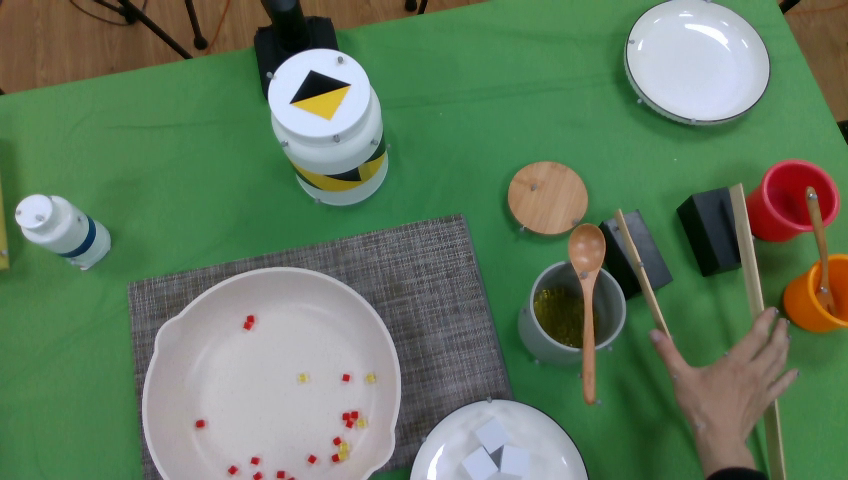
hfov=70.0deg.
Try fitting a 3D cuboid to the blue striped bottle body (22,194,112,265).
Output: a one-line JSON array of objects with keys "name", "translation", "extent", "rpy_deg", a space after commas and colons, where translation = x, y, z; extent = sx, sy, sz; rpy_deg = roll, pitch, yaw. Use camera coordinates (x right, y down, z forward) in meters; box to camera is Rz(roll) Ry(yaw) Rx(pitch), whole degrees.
[{"name": "blue striped bottle body", "translation": [-0.450, -0.015, 0.758], "extent": [0.063, 0.121, 0.062], "rpy_deg": [0, 71, 1]}]

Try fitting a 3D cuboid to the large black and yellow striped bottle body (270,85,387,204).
[{"name": "large black and yellow striped bottle body", "translation": [-0.117, -0.137, 0.765], "extent": [0.131, 0.185, 0.130], "rpy_deg": [0, 71, 0]}]

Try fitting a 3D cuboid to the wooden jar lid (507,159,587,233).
[{"name": "wooden jar lid", "translation": [0.166, -0.058, 0.825], "extent": [0.108, 0.021, 0.108], "rpy_deg": [0, 73, 0]}]

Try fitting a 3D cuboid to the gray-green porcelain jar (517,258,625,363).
[{"name": "gray-green porcelain jar", "translation": [0.168, 0.089, 0.721], "extent": [0.106, 0.127, 0.105], "rpy_deg": [0, 71, 0]}]

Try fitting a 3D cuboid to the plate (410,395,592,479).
[{"name": "plate", "translation": [0.088, 0.286, 0.702], "extent": [0.208, 0.039, 0.206], "rpy_deg": [0, 74, 0]}]

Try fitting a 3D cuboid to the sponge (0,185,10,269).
[{"name": "sponge", "translation": [-0.636, -0.051, 0.800], "extent": [0.118, 0.061, 0.205], "rpy_deg": [-17, 73, -6]}]

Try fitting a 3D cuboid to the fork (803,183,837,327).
[{"name": "fork", "translation": [0.476, 0.021, 0.729], "extent": [0.028, 0.018, 0.209], "rpy_deg": [-25, 118, 0]}]

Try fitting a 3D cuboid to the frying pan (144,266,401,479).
[{"name": "frying pan", "translation": [-0.220, 0.259, 0.674], "extent": [0.306, 0.103, 0.486], "rpy_deg": [27, 66, 9]}]

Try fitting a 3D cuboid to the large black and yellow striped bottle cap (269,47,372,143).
[{"name": "large black and yellow striped bottle cap", "translation": [-0.117, -0.165, 0.685], "extent": [0.115, 0.019, 0.114], "rpy_deg": [0, 73, 0]}]

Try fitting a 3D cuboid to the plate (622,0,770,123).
[{"name": "plate", "translation": [0.389, -0.259, 0.879], "extent": [0.209, 0.038, 0.208], "rpy_deg": [0, 72, 1]}]

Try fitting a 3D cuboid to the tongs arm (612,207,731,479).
[{"name": "tongs arm", "translation": [0.315, 0.135, 0.723], "extent": [0.051, 0.026, 0.383], "rpy_deg": [-17, 83, -7]}]

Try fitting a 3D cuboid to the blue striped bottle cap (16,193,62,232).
[{"name": "blue striped bottle cap", "translation": [-0.451, -0.033, 0.710], "extent": [0.044, 0.021, 0.044], "rpy_deg": [0, 73, 0]}]

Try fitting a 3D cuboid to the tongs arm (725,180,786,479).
[{"name": "tongs arm", "translation": [0.396, 0.118, 0.731], "extent": [0.028, 0.028, 0.386], "rpy_deg": [-3, 82, -9]}]

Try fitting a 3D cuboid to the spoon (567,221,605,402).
[{"name": "spoon", "translation": [0.175, 0.075, 0.652], "extent": [0.041, 0.022, 0.192], "rpy_deg": [3, 76, -1]}]
